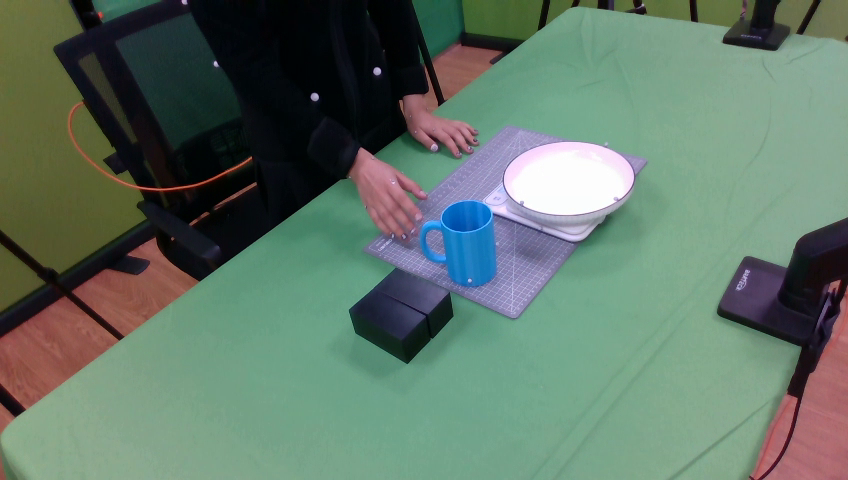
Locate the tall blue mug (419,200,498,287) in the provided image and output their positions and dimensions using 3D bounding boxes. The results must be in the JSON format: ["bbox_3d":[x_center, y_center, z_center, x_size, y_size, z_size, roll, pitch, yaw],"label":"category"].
[{"bbox_3d":[0.053,0.010,0.889,0.107,0.108,0.077,-16,41,-7],"label":"tall blue mug"}]

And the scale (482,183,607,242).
[{"bbox_3d":[0.211,-0.070,1.014,0.199,0.032,0.149,23,49,33],"label":"scale"}]

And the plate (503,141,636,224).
[{"bbox_3d":[0.233,-0.091,0.983,0.209,0.038,0.208,-5,41,5],"label":"plate"}]
